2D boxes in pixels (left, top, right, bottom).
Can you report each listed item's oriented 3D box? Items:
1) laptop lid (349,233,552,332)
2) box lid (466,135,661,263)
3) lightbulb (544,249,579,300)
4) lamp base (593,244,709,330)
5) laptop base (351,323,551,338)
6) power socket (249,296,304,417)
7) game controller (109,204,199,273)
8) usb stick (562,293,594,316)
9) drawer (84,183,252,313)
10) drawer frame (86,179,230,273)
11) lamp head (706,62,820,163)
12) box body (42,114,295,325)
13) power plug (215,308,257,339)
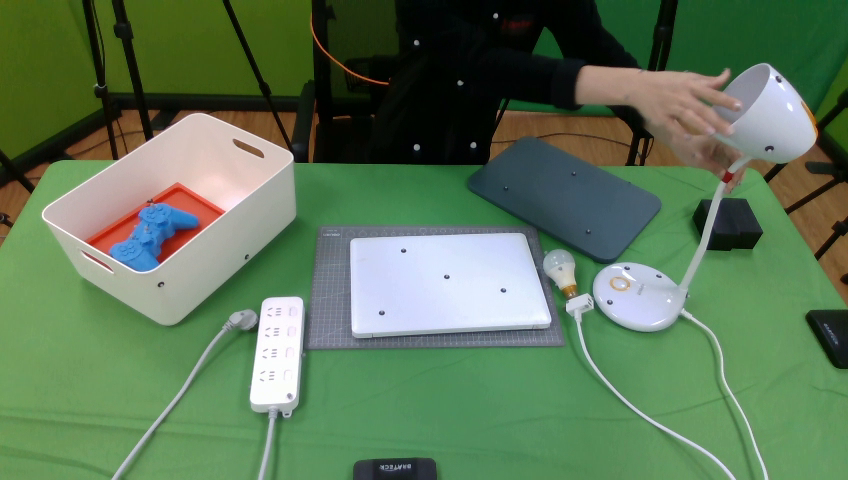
[{"bbox_3d":[0.040,0.070,1.119,0.357,0.013,0.240,-1,44,-5],"label":"laptop lid"},{"bbox_3d":[0.306,-0.102,1.327,0.370,0.015,0.263,32,52,25],"label":"box lid"},{"bbox_3d":[0.263,0.067,1.136,0.059,0.060,0.107,-10,64,-14],"label":"lightbulb"},{"bbox_3d":[0.412,0.052,1.070,0.179,0.181,0.160,18,48,9],"label":"lamp base"},{"bbox_3d":[0.040,0.081,1.126,0.355,0.023,0.234,-2,43,-6],"label":"laptop base"},{"bbox_3d":[-0.239,0.182,0.996,0.072,0.033,0.225,-2,47,-5],"label":"power socket"},{"bbox_3d":[-0.467,-0.005,1.044,0.097,0.052,0.154,8,45,10],"label":"game controller"},{"bbox_3d":[0.275,0.118,1.087,0.021,0.059,0.027,38,45,-27],"label":"usb stick"},{"bbox_3d":[-0.457,0.008,1.099,0.194,0.073,0.211,29,49,21],"label":"drawer"},{"bbox_3d":[-0.453,0.010,1.100,0.201,0.083,0.213,28,54,23],"label":"drawer frame"},{"bbox_3d":[0.460,-0.156,0.814,0.123,0.112,0.112,36,47,-12],"label":"lamp head"},{"bbox_3d":[-0.437,-0.046,1.110,0.253,0.161,0.363,24,49,19],"label":"box body"},{"bbox_3d":[-0.317,0.143,1.024,0.072,0.053,0.035,-32,58,-8],"label":"power plug"}]
